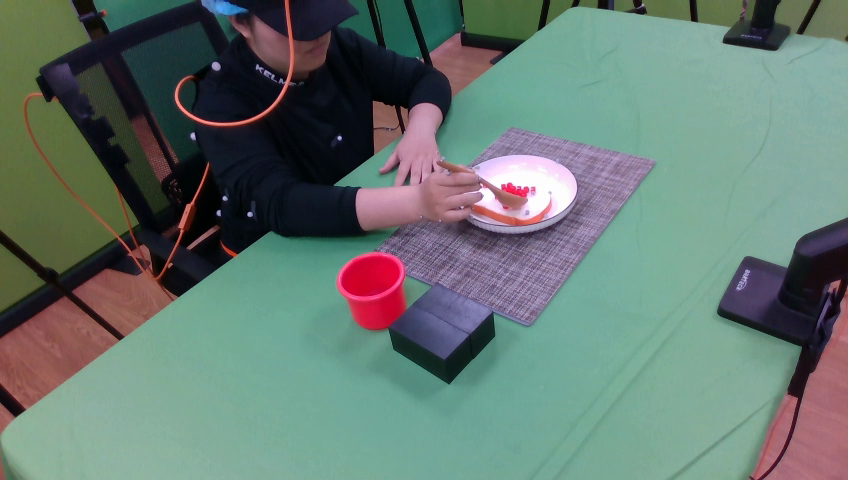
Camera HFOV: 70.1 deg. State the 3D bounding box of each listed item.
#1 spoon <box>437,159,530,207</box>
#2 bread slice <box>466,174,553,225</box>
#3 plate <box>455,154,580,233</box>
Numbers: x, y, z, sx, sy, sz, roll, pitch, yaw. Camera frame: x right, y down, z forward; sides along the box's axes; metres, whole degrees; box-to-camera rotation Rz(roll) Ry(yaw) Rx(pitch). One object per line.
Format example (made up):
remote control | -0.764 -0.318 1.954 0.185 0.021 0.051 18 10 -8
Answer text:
spoon | 0.092 -0.087 0.929 0.041 0.195 0.021 -17 57 48
bread slice | 0.152 -0.067 1.023 0.130 0.019 0.105 23 50 33
plate | 0.158 -0.076 1.028 0.209 0.038 0.208 -5 40 5
